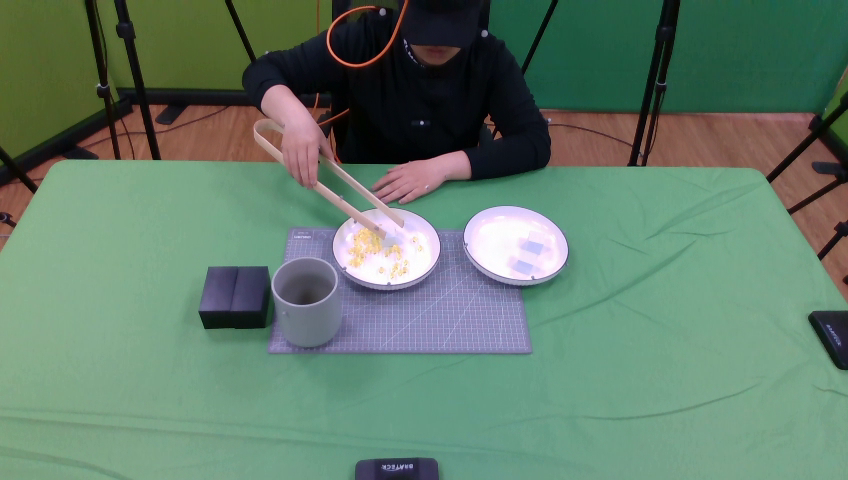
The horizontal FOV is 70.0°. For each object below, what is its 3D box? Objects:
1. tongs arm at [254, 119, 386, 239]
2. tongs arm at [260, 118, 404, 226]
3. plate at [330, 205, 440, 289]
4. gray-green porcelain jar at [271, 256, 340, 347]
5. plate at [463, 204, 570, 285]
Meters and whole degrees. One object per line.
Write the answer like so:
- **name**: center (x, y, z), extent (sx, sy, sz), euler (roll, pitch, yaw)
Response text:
- **tongs arm**: center (-0.210, -0.126, 1.208), extent (0.383, 0.026, 0.050), euler (35, 53, 16)
- **tongs arm**: center (-0.190, -0.143, 1.226), extent (0.386, 0.028, 0.028), euler (36, 57, 17)
- **plate**: center (-0.074, 0.017, 1.160), extent (0.208, 0.039, 0.206), euler (2, 46, -2)
- **gray-green porcelain jar**: center (-0.193, 0.107, 1.004), extent (0.106, 0.127, 0.105), euler (2, 46, -2)
- **plate**: center (0.178, 0.012, 1.184), extent (0.209, 0.038, 0.208), euler (3, 46, -3)
